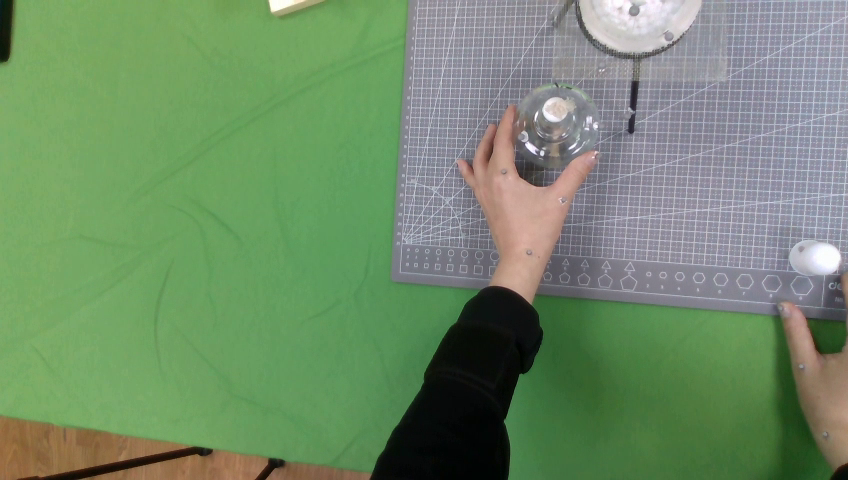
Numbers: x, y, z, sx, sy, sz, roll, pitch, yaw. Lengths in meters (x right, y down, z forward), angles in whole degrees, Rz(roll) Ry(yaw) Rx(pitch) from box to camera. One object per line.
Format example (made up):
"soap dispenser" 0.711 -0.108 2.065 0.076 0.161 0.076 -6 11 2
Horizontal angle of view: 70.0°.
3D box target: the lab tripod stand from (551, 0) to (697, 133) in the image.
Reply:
"lab tripod stand" 0.173 -0.174 0.510 0.148 0.132 0.148 0 91 12

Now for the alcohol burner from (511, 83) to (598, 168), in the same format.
"alcohol burner" 0.115 -0.104 0.535 0.078 0.119 0.078 0 89 12

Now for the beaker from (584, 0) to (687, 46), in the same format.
"beaker" 0.140 -0.177 0.401 0.083 0.100 0.074 18 94 14

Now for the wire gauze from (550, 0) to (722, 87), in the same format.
"wire gauze" 0.157 -0.176 0.447 0.125 0.011 0.121 3 94 11

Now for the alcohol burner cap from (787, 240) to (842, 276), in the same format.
"alcohol burner cap" 0.336 0.015 0.518 0.034 0.048 0.034 0 89 13

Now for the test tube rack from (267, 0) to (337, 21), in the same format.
"test tube rack" -0.065 -0.299 0.596 0.242 0.085 0.066 -14 86 13
